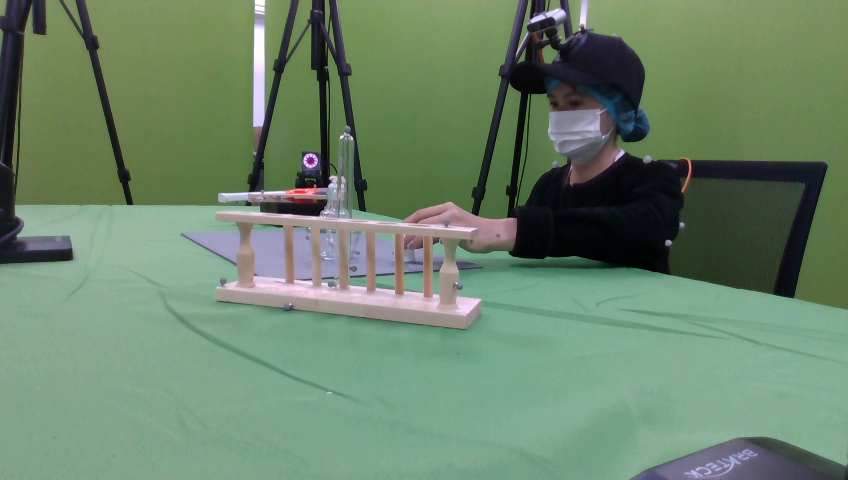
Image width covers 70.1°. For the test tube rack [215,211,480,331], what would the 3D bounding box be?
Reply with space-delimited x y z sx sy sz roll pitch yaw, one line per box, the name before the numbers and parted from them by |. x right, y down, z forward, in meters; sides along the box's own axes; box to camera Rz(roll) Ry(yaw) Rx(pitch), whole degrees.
test tube rack | -0.071 0.023 0.565 0.242 0.085 0.067 5 7 16

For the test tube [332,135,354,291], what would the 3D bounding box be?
test tube | -0.078 -0.025 0.581 0.017 0.150 0.017 3 7 0

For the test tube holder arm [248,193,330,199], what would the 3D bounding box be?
test tube holder arm | -0.268 -0.089 1.218 0.179 0.013 0.015 -6 17 -40

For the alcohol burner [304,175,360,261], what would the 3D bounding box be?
alcohol burner | -0.126 -0.031 0.838 0.078 0.119 0.078 3 5 0

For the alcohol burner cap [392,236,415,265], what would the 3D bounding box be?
alcohol burner cap | -0.030 0.009 0.836 0.034 0.048 0.034 -3 8 1

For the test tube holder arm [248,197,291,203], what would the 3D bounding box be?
test tube holder arm | -0.303 -0.080 1.191 0.088 0.010 0.015 -7 18 -40

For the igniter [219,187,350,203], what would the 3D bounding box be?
igniter | -0.285 -0.095 1.268 0.278 0.025 0.057 -6 12 -34
